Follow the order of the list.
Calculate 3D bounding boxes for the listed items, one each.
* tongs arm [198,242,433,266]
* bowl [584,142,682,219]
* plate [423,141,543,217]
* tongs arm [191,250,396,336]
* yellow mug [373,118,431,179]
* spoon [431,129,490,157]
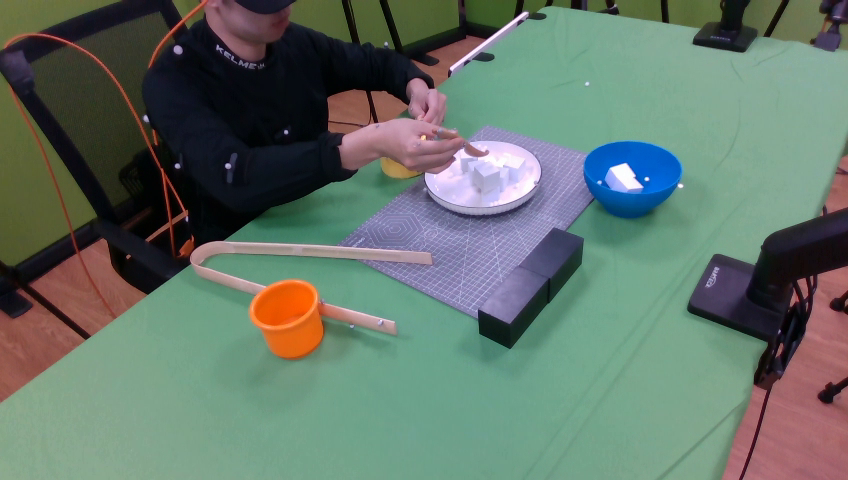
[{"bbox_3d":[-0.176,0.025,0.961,0.386,0.028,0.028,2,44,12],"label":"tongs arm"},{"bbox_3d":[0.333,-0.087,0.980,0.151,0.077,0.150,-4,40,3],"label":"bowl"},{"bbox_3d":[0.103,-0.104,1.059,0.207,0.039,0.206,-4,40,4],"label":"plate"},{"bbox_3d":[-0.204,0.075,0.902,0.382,0.026,0.051,11,44,22],"label":"tongs arm"},{"bbox_3d":[-0.031,-0.182,1.141,0.099,0.064,0.131,25,57,29],"label":"yellow mug"},{"bbox_3d":[0.055,-0.154,0.953,0.041,0.021,0.195,13,1,28],"label":"spoon"}]
